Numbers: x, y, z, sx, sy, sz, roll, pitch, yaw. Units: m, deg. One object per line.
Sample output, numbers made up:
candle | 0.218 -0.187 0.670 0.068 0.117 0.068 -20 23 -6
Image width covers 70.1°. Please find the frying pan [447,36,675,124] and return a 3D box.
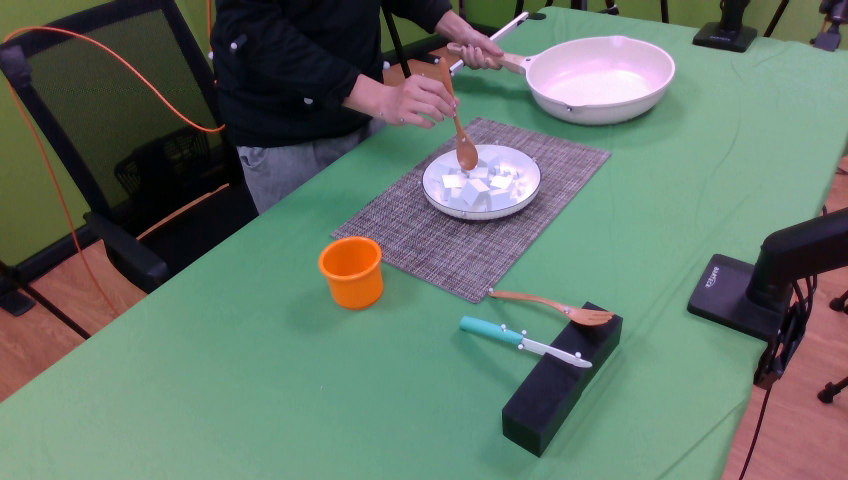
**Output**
frying pan | 0.269 -0.363 1.286 0.485 0.103 0.307 21 49 20

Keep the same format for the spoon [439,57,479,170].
spoon | 0.054 -0.204 0.990 0.041 0.195 0.021 4 39 32

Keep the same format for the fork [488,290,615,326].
fork | 0.160 0.086 0.801 0.205 0.019 0.028 11 47 48

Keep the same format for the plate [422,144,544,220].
plate | 0.102 -0.097 1.048 0.207 0.039 0.206 -4 40 4

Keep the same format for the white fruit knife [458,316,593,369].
white fruit knife | 0.120 0.127 0.757 0.205 0.027 0.016 12 44 43
